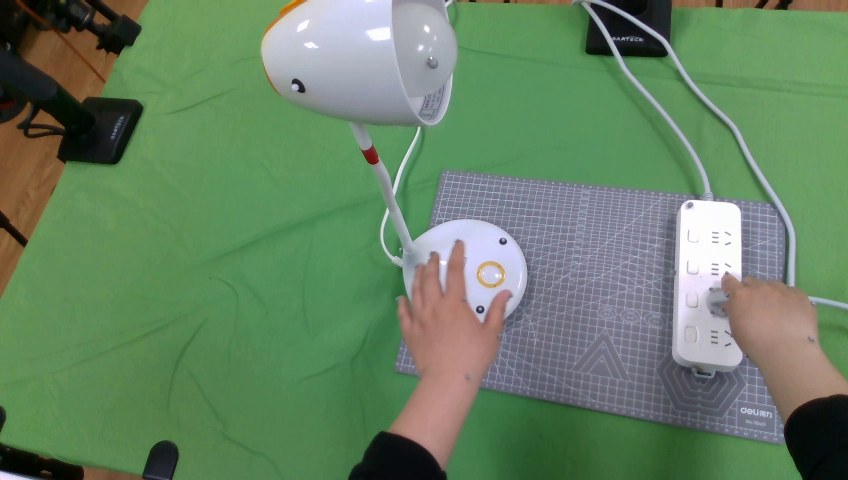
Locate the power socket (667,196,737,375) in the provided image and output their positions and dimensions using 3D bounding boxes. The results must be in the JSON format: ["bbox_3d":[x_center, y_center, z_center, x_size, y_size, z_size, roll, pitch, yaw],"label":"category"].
[{"bbox_3d":[0.335,0.047,0.730,0.072,0.033,0.225,6,67,12],"label":"power socket"}]

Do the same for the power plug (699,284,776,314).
[{"bbox_3d":[0.354,0.073,0.695,0.072,0.053,0.035,19,70,13],"label":"power plug"}]

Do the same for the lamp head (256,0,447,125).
[{"bbox_3d":[-0.053,-0.131,0.432,0.122,0.113,0.111,-4,64,26],"label":"lamp head"}]

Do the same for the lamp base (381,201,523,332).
[{"bbox_3d":[0.022,0.010,0.721,0.179,0.182,0.159,2,66,14],"label":"lamp base"}]

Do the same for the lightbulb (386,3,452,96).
[{"bbox_3d":[-0.033,-0.130,0.416,0.107,0.060,0.059,7,67,22],"label":"lightbulb"}]
